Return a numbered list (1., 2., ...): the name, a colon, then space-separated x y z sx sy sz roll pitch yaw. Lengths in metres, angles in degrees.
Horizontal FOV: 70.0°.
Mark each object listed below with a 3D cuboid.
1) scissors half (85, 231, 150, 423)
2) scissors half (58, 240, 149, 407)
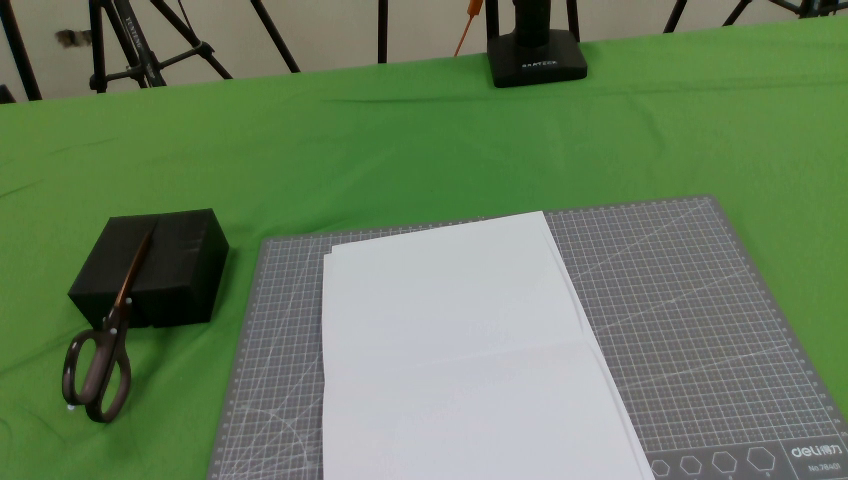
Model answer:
1. scissors half: -0.249 0.066 0.509 0.013 0.040 0.173 -9 60 11
2. scissors half: -0.254 0.054 0.493 0.013 0.040 0.173 -6 43 7
